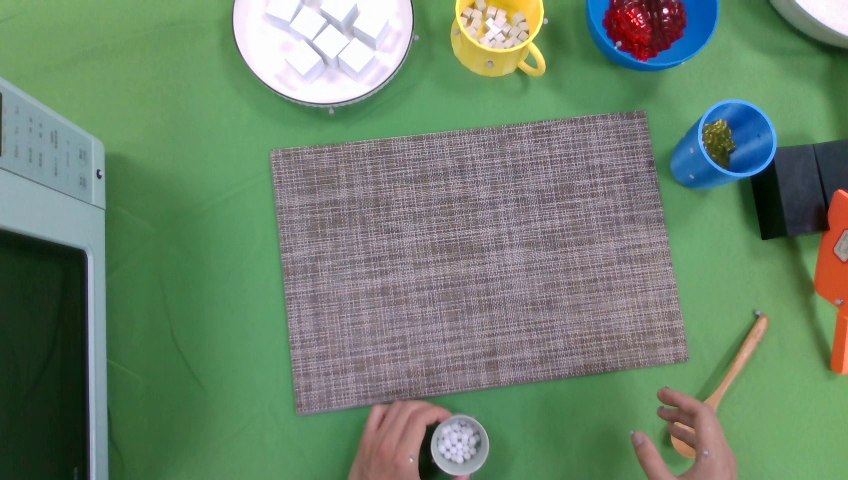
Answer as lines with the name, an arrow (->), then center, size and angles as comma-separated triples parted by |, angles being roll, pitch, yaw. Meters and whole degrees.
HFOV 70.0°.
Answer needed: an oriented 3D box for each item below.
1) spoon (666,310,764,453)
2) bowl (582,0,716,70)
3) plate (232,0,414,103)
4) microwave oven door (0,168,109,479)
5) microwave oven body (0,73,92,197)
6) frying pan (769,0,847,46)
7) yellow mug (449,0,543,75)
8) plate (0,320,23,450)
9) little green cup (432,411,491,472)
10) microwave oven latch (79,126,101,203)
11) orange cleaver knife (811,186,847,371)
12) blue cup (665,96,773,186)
spoon -> 0.338, 0.158, 0.691 | 0.041, 0.022, 0.193 | 37, 82, 13
bowl -> 0.251, -0.262, 0.710 | 0.151, 0.077, 0.151 | 0, 83, -3
plate -> -0.115, -0.257, 0.711 | 0.208, 0.039, 0.207 | 0, 83, -3
microwave oven door -> -0.351, 0.123, 0.532 | 0.039, 0.244, 0.354 | -4, 83, -3
microwave oven body -> -0.500, 0.091, 0.533 | 0.326, 0.260, 0.440 | -4, 84, -4
frying pan -> 0.535, -0.267, 0.712 | 0.307, 0.103, 0.485 | -2, 75, -2
yellow mug -> 0.092, -0.243, 0.706 | 0.100, 0.064, 0.130 | -44, 88, -7
plate -> -0.488, 0.145, 0.579 | 0.209, 0.038, 0.208 | 0, 85, -4
little green cup -> 0.038, 0.213, 0.649 | 0.062, 0.038, 0.061 | 1, 86, -10
microwave oven latch -> -0.369, -0.081, 0.657 | 0.030, 0.029, 0.079 | -2, 84, -4
orange cleaver knife -> 0.465, 0.046, 0.682 | 0.012, 0.076, 0.212 | -8, 112, -4
blue cup -> 0.321, -0.102, 0.682 | 0.093, 0.100, 0.092 | 1, 81, -4
